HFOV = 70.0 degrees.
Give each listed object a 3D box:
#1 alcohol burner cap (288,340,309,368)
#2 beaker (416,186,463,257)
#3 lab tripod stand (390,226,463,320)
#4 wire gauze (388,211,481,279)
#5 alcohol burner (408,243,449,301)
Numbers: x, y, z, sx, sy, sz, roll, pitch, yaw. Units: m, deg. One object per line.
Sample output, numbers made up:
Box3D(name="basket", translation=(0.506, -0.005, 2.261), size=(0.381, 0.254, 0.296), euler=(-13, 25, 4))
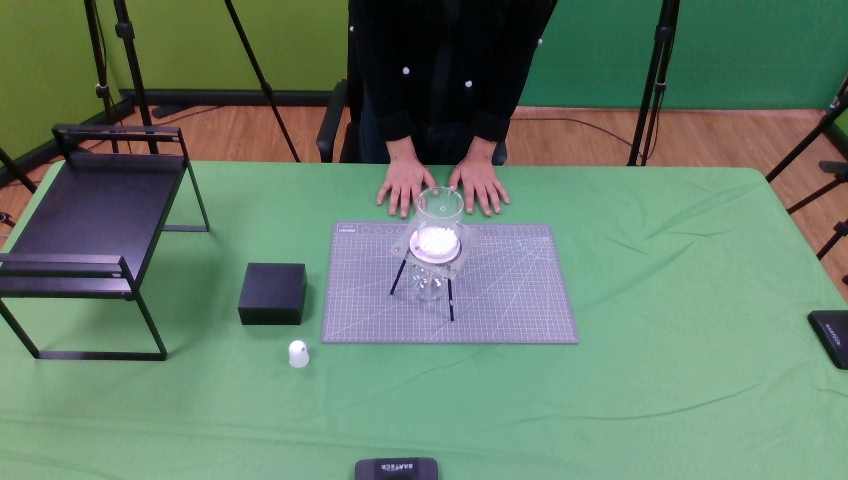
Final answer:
Box3D(name="alcohol burner cap", translation=(-0.207, 0.183, 0.991), size=(0.034, 0.048, 0.033), euler=(2, 47, -2))
Box3D(name="beaker", translation=(0.024, -0.029, 0.984), size=(0.074, 0.101, 0.083), euler=(19, 49, 14))
Box3D(name="lab tripod stand", translation=(0.014, 0.053, 1.063), size=(0.148, 0.132, 0.147), euler=(1, 48, -1))
Box3D(name="wire gauze", translation=(0.018, 0.003, 1.020), size=(0.125, 0.011, 0.121), euler=(20, 47, 18))
Box3D(name="alcohol burner", translation=(0.010, 0.052, 1.078), size=(0.078, 0.120, 0.077), euler=(1, 45, -1))
